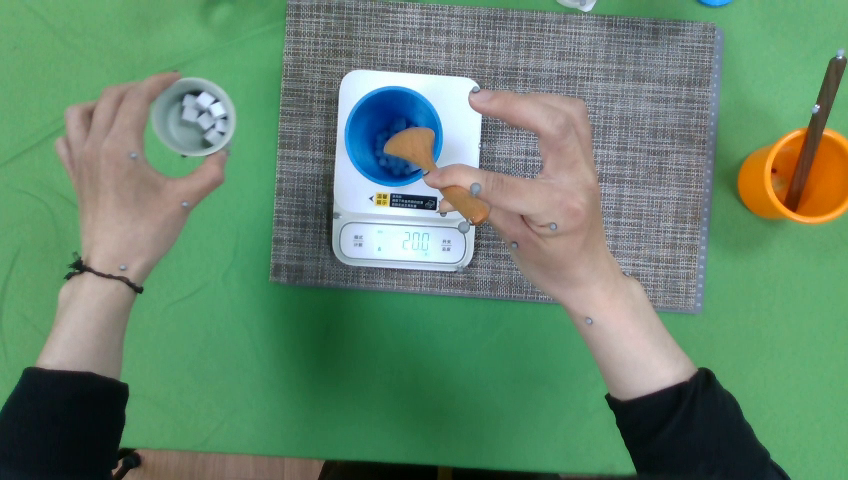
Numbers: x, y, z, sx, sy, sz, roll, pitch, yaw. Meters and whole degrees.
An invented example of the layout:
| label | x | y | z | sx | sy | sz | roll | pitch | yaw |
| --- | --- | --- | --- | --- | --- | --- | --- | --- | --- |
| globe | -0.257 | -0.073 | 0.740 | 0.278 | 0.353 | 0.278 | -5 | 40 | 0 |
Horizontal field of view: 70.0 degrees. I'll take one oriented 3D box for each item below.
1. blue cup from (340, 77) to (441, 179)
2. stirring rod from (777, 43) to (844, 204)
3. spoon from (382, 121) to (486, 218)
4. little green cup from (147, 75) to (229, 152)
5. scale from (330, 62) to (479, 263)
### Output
| label | x | y | z | sx | sy | sz | roll | pitch | yaw |
| --- | --- | --- | --- | --- | --- | --- | --- | --- | --- |
| blue cup | -0.026 | -0.096 | 0.558 | 0.092 | 0.100 | 0.092 | 0 | 93 | 2 |
| stirring rod | 0.360 | -0.102 | 0.570 | 0.014 | 0.005 | 0.178 | -10 | 134 | 3 |
| spoon | 0.006 | -0.050 | 0.395 | 0.041 | 0.191 | 0.022 | -23 | 120 | -6 |
| little green cup | -0.189 | -0.100 | 0.494 | 0.062 | 0.038 | 0.061 | -1 | 94 | -15 |
| scale | -0.021 | -0.078 | 0.624 | 0.149 | 0.031 | 0.201 | 3 | 92 | 1 |
